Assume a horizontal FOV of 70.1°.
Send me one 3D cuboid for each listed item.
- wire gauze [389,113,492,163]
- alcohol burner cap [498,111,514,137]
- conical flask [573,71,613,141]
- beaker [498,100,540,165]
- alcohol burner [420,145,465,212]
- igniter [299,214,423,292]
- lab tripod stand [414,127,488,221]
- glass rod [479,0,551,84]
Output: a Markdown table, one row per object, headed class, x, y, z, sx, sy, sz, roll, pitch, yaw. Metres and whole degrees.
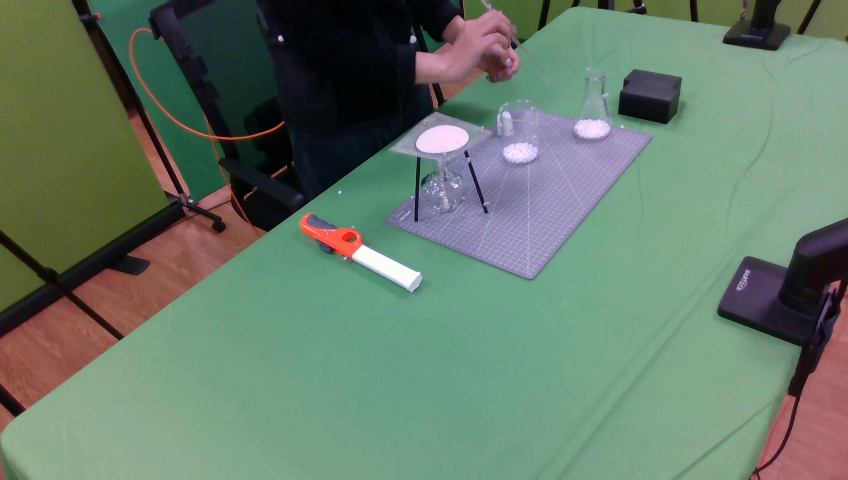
| class | x | y | z | sx | sy | sz | roll | pitch | yaw |
| --- | --- | --- | --- | --- | --- | --- | --- | --- | --- |
| wire gauze | 0.026 | -0.164 | 0.977 | 0.120 | 0.011 | 0.125 | 24 | 49 | 35 |
| alcohol burner cap | 0.163 | -0.235 | 1.211 | 0.034 | 0.048 | 0.033 | -6 | 40 | 6 |
| conical flask | 0.321 | -0.256 | 1.142 | 0.075 | 0.122 | 0.075 | -5 | 40 | 5 |
| beaker | 0.180 | -0.196 | 1.117 | 0.074 | 0.101 | 0.083 | -25 | 43 | -17 |
| alcohol burner | 0.030 | -0.108 | 1.030 | 0.078 | 0.119 | 0.077 | -5 | 38 | 4 |
| igniter | -0.112 | 0.016 | 0.983 | 0.274 | 0.025 | 0.057 | 26 | 62 | 35 |
| lab tripod stand | 0.035 | -0.114 | 1.021 | 0.148 | 0.132 | 0.147 | -7 | 39 | 6 |
| glass rod | 0.164 | -0.358 | 1.085 | 0.008 | 0.200 | 0.008 | -42 | 8 | 7 |
